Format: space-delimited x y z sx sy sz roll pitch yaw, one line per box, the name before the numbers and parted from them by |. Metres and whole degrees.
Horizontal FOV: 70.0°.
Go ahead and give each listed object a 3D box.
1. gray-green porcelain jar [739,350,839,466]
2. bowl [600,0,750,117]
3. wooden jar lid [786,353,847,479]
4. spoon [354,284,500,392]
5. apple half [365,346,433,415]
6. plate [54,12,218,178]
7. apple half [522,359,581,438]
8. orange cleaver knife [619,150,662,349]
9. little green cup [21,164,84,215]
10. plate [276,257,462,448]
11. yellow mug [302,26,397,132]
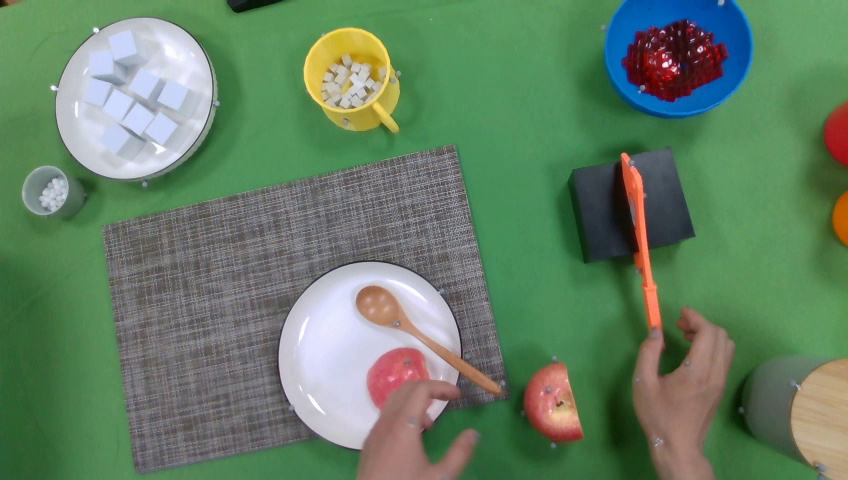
gray-green porcelain jar | 0.377 0.161 0.587 0.106 0.127 0.105 -1 82 7
bowl | 0.264 -0.199 0.665 0.151 0.077 0.151 -1 84 7
wooden jar lid | 0.368 0.152 0.525 0.108 0.021 0.108 0 85 6
spoon | 0.001 0.109 0.663 0.192 0.022 0.041 33 74 22
apple half | -0.031 0.157 0.668 0.081 0.033 0.081 -1 80 7
plate | -0.351 -0.176 0.753 0.207 0.039 0.207 -1 83 7
apple half | 0.131 0.170 0.641 0.053 0.075 0.080 -15 85 8
orange cleaver knife | 0.228 0.011 0.643 0.012 0.077 0.212 -11 106 9
little green cup | -0.457 -0.060 0.750 0.061 0.039 0.061 0 84 5
plate | -0.061 0.124 0.681 0.209 0.038 0.208 -1 84 6
yellow mug | -0.075 -0.177 0.707 0.100 0.064 0.130 -41 82 0
